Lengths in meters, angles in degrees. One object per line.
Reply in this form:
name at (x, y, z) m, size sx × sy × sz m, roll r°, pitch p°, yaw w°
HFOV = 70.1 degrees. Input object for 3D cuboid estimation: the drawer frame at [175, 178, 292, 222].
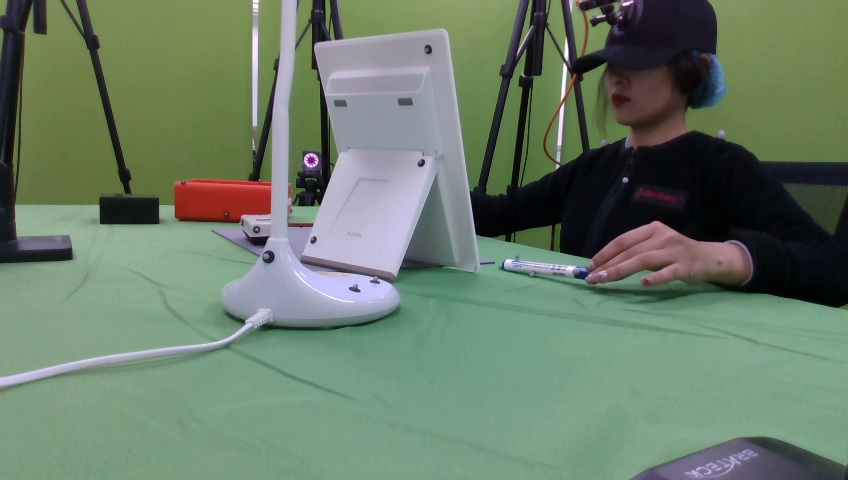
drawer frame at (-0.402, -0.087, 1.311) m, size 0.214 × 0.082 × 0.201 m, roll 1°, pitch 8°, yaw -9°

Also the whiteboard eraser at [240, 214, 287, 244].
whiteboard eraser at (-0.256, -0.018, 0.958) m, size 0.056 × 0.042 × 0.112 m, roll 0°, pitch 8°, yaw -25°

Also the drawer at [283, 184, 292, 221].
drawer at (-0.397, -0.086, 1.314) m, size 0.212 × 0.073 × 0.194 m, roll 1°, pitch 8°, yaw -9°

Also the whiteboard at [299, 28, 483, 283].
whiteboard at (-0.075, -0.082, 0.741) m, size 0.216 × 0.305 × 0.144 m, roll 9°, pitch 30°, yaw 38°

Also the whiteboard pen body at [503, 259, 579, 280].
whiteboard pen body at (0.156, 0.038, 0.763) m, size 0.017 × 0.017 × 0.140 m, roll -4°, pitch 7°, yaw -42°

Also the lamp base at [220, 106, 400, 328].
lamp base at (-0.101, -0.023, 0.531) m, size 0.160 × 0.180 × 0.179 m, roll 4°, pitch 10°, yaw 10°

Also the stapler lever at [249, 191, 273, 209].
stapler lever at (-0.352, -0.086, 1.306) m, size 0.027 × 0.040 × 0.118 m, roll 0°, pitch 5°, yaw -3°

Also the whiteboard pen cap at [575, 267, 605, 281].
whiteboard pen cap at (0.197, 0.040, 0.718) m, size 0.018 × 0.018 × 0.033 m, roll -5°, pitch 5°, yaw -44°

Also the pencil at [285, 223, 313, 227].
pencil at (-0.234, -0.030, 1.198) m, size 0.195 × 0.012 × 0.012 m, roll 0°, pitch 8°, yaw -20°

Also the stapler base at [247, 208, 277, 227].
stapler base at (-0.350, -0.054, 1.310) m, size 0.041 × 0.024 × 0.130 m, roll 0°, pitch 13°, yaw -3°
